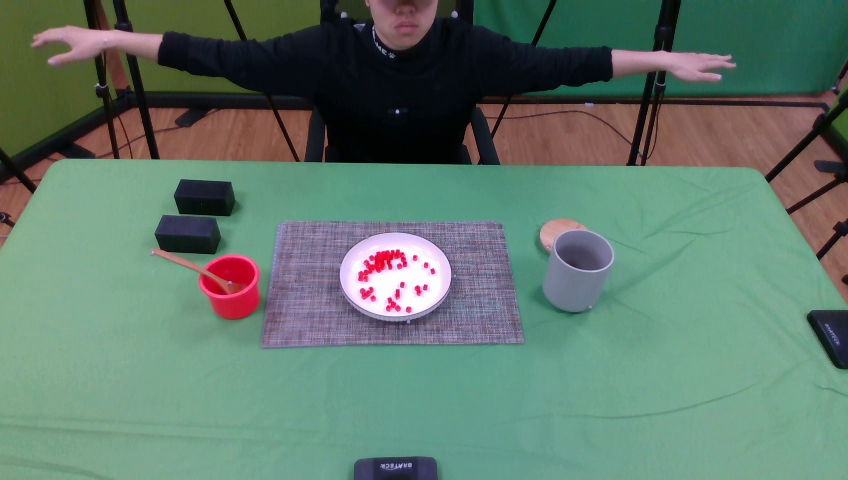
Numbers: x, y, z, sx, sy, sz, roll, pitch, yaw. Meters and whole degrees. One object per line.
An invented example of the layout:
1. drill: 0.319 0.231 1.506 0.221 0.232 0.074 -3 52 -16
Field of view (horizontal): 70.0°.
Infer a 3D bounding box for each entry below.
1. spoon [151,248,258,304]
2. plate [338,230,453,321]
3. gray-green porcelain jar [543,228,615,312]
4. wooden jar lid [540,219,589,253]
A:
1. spoon: -0.369 0.058 1.028 0.195 0.021 0.041 36 35 -32
2. plate: -0.051 0.068 1.111 0.208 0.039 0.206 2 46 -2
3. gray-green porcelain jar: 0.273 0.059 1.086 0.106 0.127 0.105 2 46 -2
4. wooden jar lid: 0.286 0.001 1.218 0.108 0.021 0.107 1 46 -1
